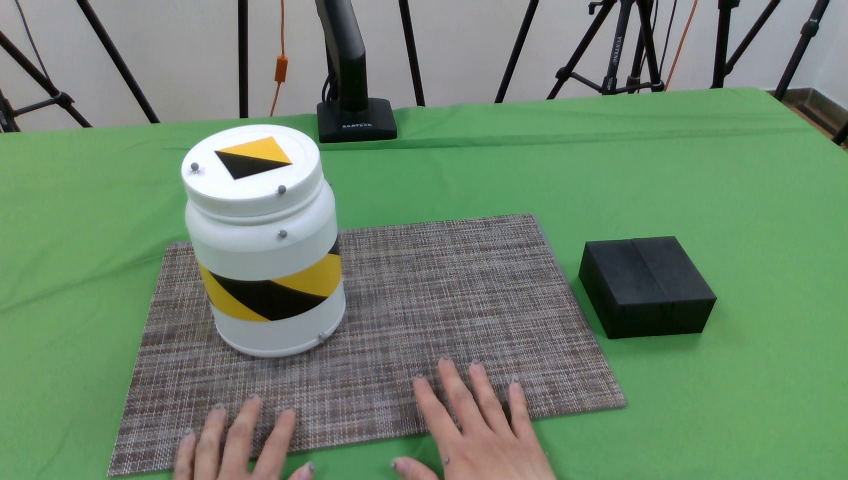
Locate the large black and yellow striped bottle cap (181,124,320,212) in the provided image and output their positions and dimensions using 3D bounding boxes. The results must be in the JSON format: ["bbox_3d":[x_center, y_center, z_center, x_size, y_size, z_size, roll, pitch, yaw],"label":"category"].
[{"bbox_3d":[-0.148,-0.065,0.521,0.115,0.019,0.114,1,41,-1],"label":"large black and yellow striped bottle cap"}]

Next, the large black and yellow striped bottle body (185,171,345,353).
[{"bbox_3d":[-0.147,0.003,0.576,0.131,0.185,0.129,1,39,0],"label":"large black and yellow striped bottle body"}]
